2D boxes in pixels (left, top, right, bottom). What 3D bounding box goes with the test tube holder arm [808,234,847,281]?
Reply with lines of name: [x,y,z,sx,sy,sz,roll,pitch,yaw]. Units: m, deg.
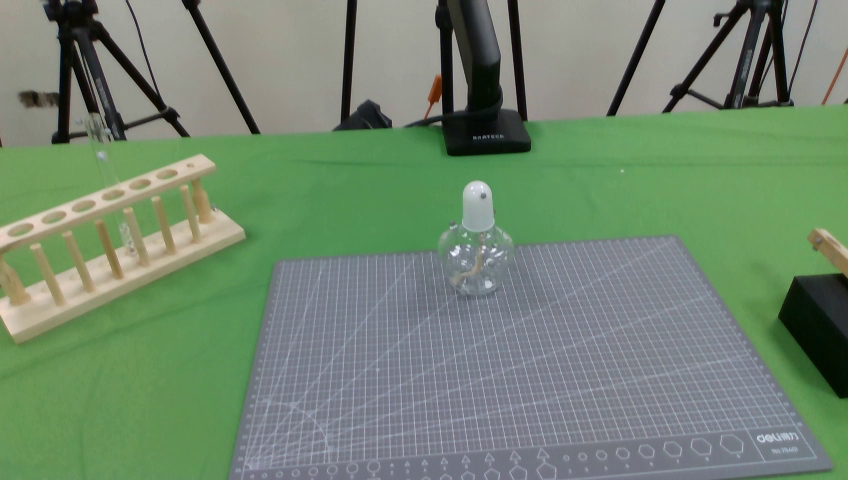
test tube holder arm: [0.383,0.025,0.551,0.010,0.015,0.087,0,36,-10]

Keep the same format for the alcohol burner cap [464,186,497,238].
alcohol burner cap: [0.053,-0.029,0.575,0.034,0.048,0.033,-2,40,2]

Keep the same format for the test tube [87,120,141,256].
test tube: [-0.316,-0.049,0.624,0.017,0.151,0.017,-1,30,1]

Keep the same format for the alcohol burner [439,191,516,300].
alcohol burner: [0.053,0.000,0.596,0.078,0.120,0.077,0,38,0]

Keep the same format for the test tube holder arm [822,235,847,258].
test tube holder arm: [0.395,0.051,0.517,0.013,0.015,0.176,0,36,-11]

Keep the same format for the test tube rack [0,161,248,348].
test tube rack: [-0.315,0.006,0.632,0.242,0.086,0.066,-29,44,-33]
